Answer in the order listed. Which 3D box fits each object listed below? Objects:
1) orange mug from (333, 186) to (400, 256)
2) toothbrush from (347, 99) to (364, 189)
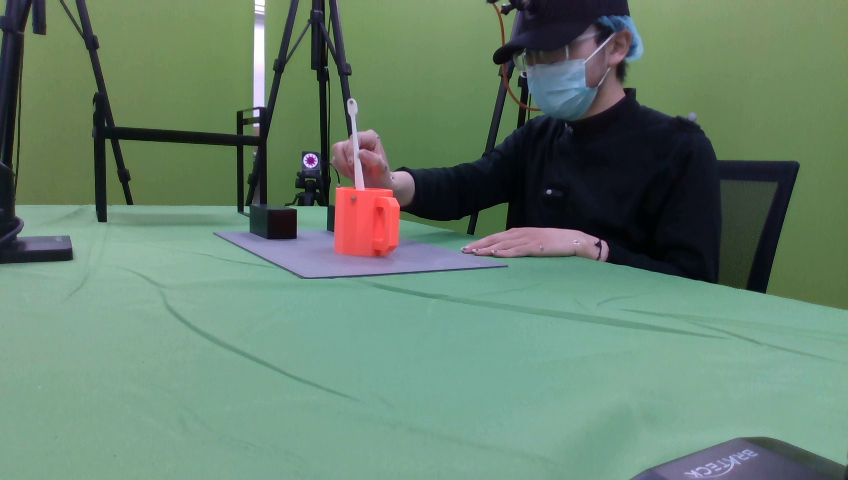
[{"bbox_3d":[-0.080,-0.029,0.888,0.084,0.100,0.125,-3,5,-40],"label":"orange mug"},{"bbox_3d":[-0.100,-0.119,0.906,0.014,0.181,0.016,-5,8,-2],"label":"toothbrush"}]
